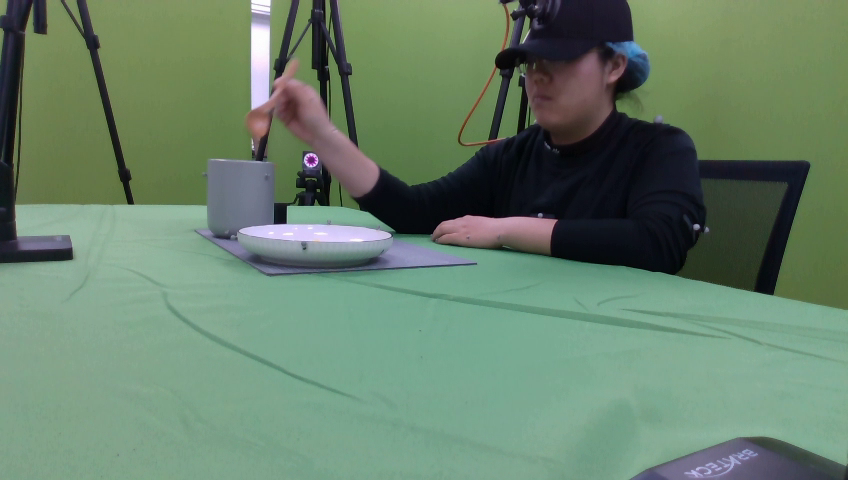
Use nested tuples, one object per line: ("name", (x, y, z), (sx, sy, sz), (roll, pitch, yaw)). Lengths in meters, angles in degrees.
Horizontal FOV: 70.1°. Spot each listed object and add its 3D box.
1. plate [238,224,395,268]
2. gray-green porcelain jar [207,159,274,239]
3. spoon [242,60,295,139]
("plate", (-0.144, 0.007, 0.823), (0.208, 0.039, 0.207), (3, 7, 0))
("gray-green porcelain jar", (-0.304, -0.068, 1.004), (0.106, 0.126, 0.106), (3, 7, 0))
("spoon", (-0.250, -0.237, 1.003), (0.021, 0.193, 0.042), (-18, -49, 43))
